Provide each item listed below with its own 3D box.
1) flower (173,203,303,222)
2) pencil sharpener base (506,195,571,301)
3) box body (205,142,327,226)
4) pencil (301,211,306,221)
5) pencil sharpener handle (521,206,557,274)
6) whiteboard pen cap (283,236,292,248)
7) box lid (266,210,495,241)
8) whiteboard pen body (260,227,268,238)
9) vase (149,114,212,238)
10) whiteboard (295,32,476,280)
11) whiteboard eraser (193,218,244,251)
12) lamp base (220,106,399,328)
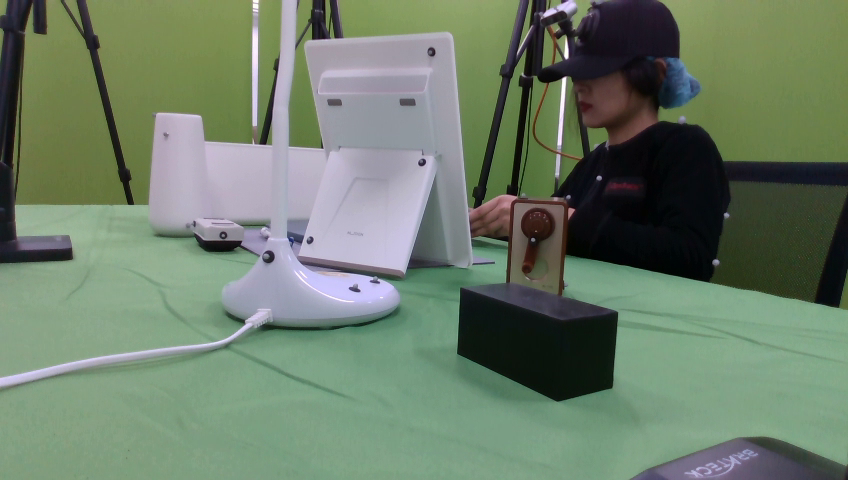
[{"bbox_3d":[-0.382,-0.061,1.309,0.044,0.038,0.363,0,3,29],"label":"flower"},{"bbox_3d":[0.126,0.007,0.662,0.061,0.107,0.077,4,8,13],"label":"pencil sharpener base"},{"bbox_3d":[-0.363,-0.123,1.293,0.366,0.160,0.253,-2,9,-32],"label":"box body"},{"bbox_3d":[-0.268,-0.056,1.351,0.012,0.012,0.193,1,6,-11],"label":"pencil"},{"bbox_3d":[0.112,0.000,0.611,0.036,0.067,0.031,13,10,11],"label":"pencil sharpener handle"},{"bbox_3d":[-0.211,0.003,0.913,0.018,0.018,0.033,-2,6,-28],"label":"whiteboard pen cap"},{"bbox_3d":[-0.079,-0.031,1.115,0.373,0.015,0.262,-8,9,-31],"label":"box lid"},{"bbox_3d":[-0.239,-0.005,0.964,0.017,0.017,0.140,-2,9,-28],"label":"whiteboard pen body"},{"bbox_3d":[-0.405,-0.106,1.005,0.098,0.200,0.098,2,6,0],"label":"vase"},{"bbox_3d":[-0.076,-0.084,0.747,0.216,0.305,0.144,7,28,29],"label":"whiteboard"},{"bbox_3d":[-0.307,-0.010,0.900,0.056,0.042,0.112,-4,10,-28],"label":"whiteboard eraser"},{"bbox_3d":[-0.102,-0.023,0.531,0.160,0.180,0.179,4,10,10],"label":"lamp base"}]
